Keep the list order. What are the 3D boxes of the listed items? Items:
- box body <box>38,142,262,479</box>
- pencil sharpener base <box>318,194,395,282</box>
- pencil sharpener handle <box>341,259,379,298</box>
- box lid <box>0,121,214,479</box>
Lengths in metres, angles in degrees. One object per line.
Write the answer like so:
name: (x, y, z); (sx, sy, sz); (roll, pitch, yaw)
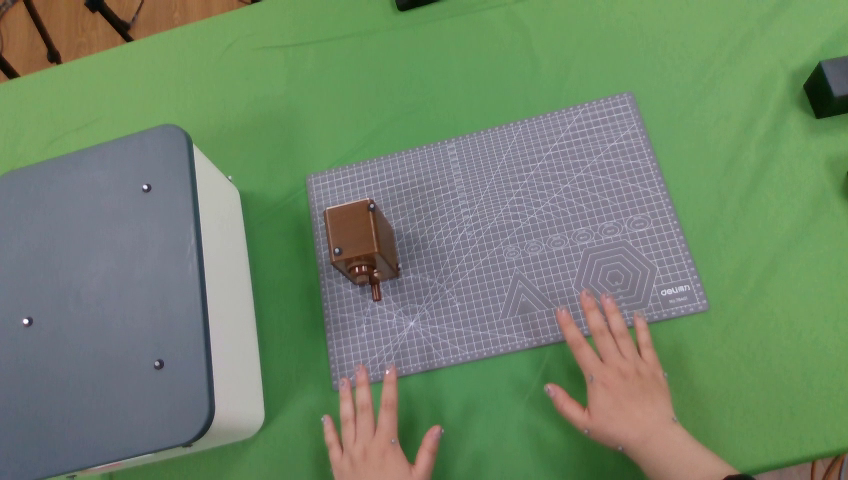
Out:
box body: (-0.353, 0.079, 0.727); (0.254, 0.161, 0.361); (-15, 70, 5)
pencil sharpener base: (-0.079, 0.003, 0.728); (0.061, 0.108, 0.076); (-13, 70, 6)
pencil sharpener handle: (-0.069, 0.046, 0.700); (0.036, 0.068, 0.030); (-16, 70, 14)
box lid: (-0.366, 0.053, 0.659); (0.263, 0.015, 0.368); (-15, 70, 5)
